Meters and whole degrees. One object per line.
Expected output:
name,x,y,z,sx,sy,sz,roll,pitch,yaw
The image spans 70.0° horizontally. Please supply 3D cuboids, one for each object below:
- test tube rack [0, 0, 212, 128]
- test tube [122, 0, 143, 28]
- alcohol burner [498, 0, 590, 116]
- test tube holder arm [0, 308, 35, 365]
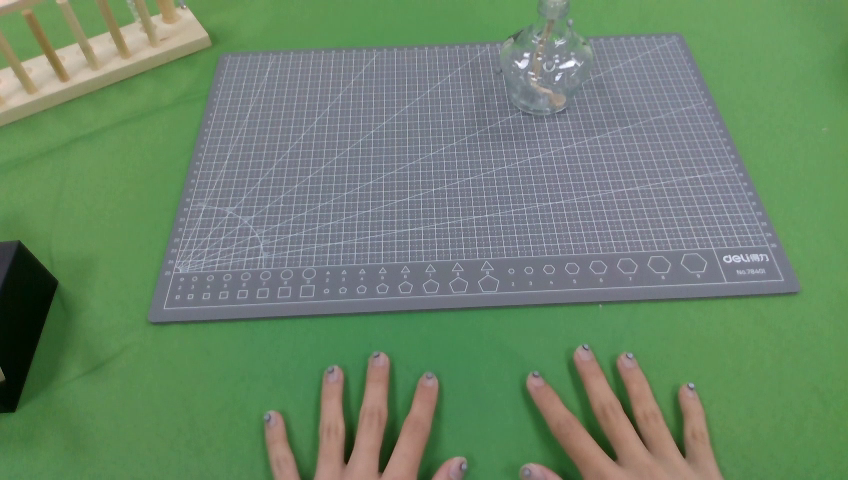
test tube rack,-0.331,-0.183,0.550,0.242,0.086,0.066,-29,57,-18
test tube,-0.284,-0.260,0.543,0.017,0.151,0.017,-3,51,4
alcohol burner,0.101,-0.163,0.499,0.078,0.120,0.077,-1,51,1
test tube holder arm,-0.292,0.021,0.379,0.177,0.015,0.013,33,64,25
